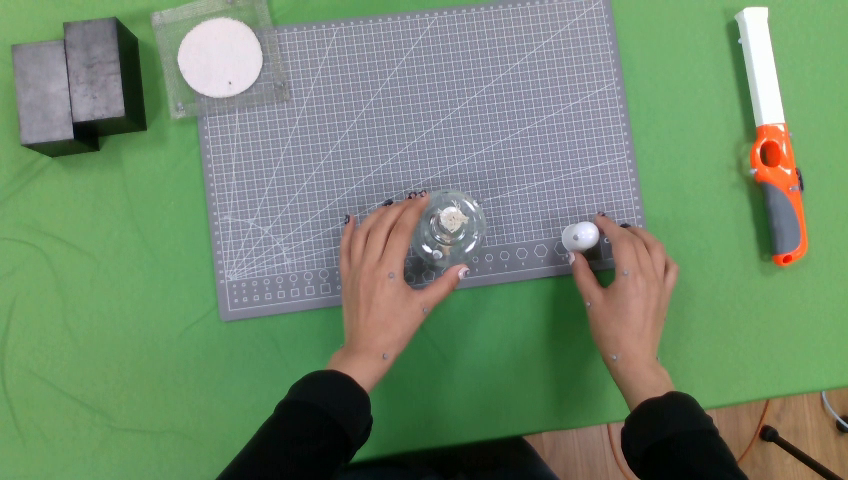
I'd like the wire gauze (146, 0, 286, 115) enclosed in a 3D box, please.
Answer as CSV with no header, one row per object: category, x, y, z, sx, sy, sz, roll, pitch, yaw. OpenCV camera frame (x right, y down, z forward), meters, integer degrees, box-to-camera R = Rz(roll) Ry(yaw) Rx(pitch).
wire gauze,-0.217,-0.198,0.629,0.125,0.011,0.121,-13,86,-3

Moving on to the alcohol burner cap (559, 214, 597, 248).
alcohol burner cap,0.160,-0.010,0.618,0.034,0.048,0.034,0,84,-1

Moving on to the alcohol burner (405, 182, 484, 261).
alcohol burner,0.021,-0.020,0.577,0.078,0.119,0.077,0,84,-3

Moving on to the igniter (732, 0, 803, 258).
igniter,0.366,-0.120,0.645,0.057,0.025,0.276,-6,87,-14
